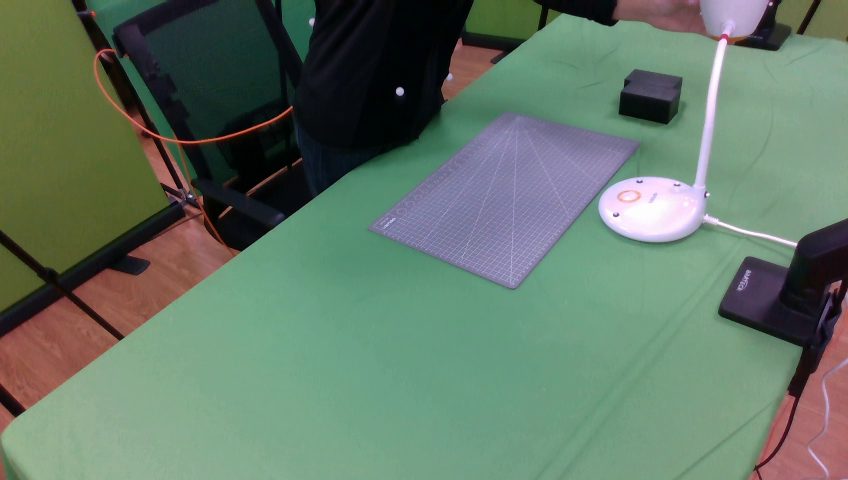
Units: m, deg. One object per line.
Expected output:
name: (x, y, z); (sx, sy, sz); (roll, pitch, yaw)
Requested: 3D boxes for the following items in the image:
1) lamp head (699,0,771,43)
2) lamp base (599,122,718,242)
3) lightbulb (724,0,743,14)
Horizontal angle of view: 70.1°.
lamp head: (0.470, -0.364, 0.917); (0.112, 0.123, 0.112); (-7, 33, 5)
lamp base: (0.367, -0.108, 0.919); (0.178, 0.181, 0.160); (12, 45, 20)
lightbulb: (0.466, -0.392, 0.901); (0.059, 0.108, 0.059); (-8, 39, 7)
